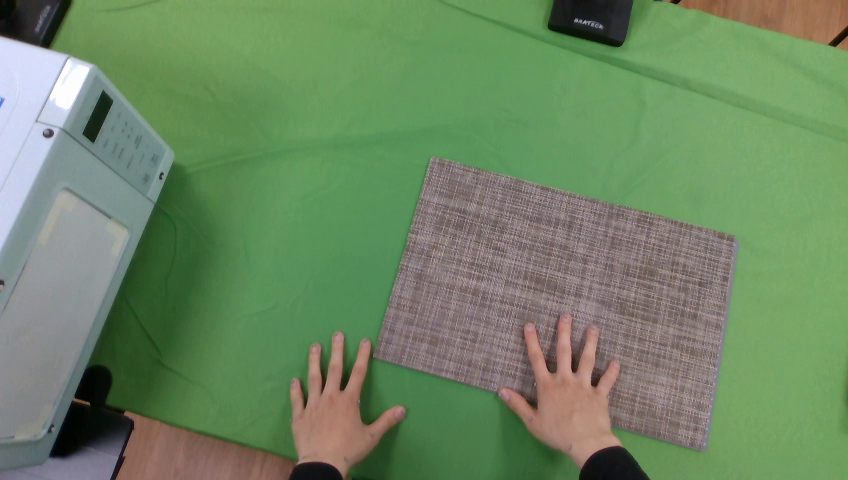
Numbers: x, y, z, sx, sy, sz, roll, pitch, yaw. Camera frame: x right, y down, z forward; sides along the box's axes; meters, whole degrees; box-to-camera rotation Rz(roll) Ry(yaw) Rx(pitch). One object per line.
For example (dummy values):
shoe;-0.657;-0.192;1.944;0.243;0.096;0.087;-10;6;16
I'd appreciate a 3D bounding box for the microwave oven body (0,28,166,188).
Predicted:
microwave oven body;-0.558;-0.005;0.693;0.326;0.261;0.440;16;77;1

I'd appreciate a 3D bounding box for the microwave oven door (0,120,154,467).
microwave oven door;-0.429;0.073;0.674;0.039;0.245;0.354;15;76;2

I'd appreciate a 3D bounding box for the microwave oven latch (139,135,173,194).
microwave oven latch;-0.369;-0.105;0.824;0.030;0.029;0.079;18;77;2

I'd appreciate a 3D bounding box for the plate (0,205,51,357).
plate;-0.556;0.055;0.737;0.209;0.038;0.208;1;78;-3
